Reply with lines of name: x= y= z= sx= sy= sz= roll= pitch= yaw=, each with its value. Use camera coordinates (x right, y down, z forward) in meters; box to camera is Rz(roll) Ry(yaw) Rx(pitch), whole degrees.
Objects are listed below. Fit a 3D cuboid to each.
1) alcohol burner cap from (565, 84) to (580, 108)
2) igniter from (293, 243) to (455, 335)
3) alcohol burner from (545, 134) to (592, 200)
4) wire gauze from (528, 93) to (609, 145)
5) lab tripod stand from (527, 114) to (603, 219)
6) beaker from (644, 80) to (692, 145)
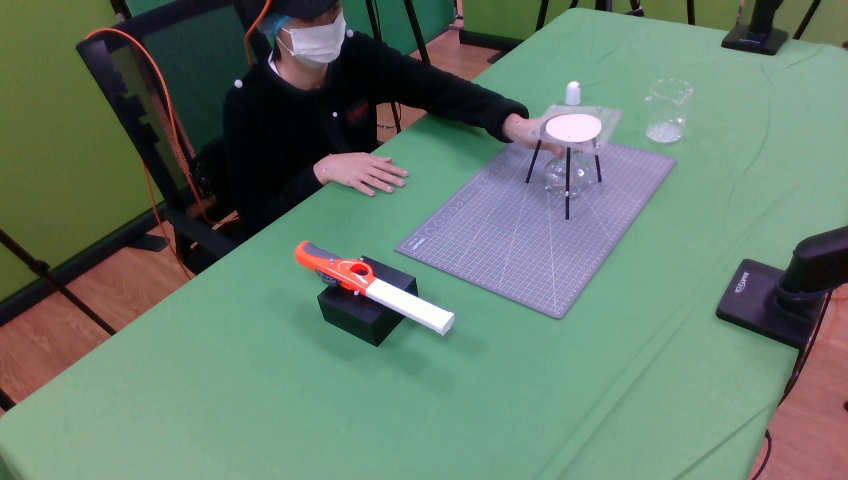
alcohol burner cap: x=0.315 y=-0.307 z=1.278 sx=0.034 sy=0.048 sz=0.033 roll=-4 pitch=42 yaw=4
igniter: x=-0.079 y=0.062 z=0.837 sx=0.274 sy=0.025 sz=0.057 roll=22 pitch=48 yaw=27
alcohol burner: x=0.243 y=-0.128 z=1.014 sx=0.078 sy=0.119 sz=0.077 roll=-5 pitch=42 yaw=5
wire gauze: x=0.225 y=-0.188 z=0.943 sx=0.121 sy=0.011 sz=0.124 roll=6 pitch=48 yaw=9
lab tripod stand: x=0.234 y=-0.129 z=1.001 sx=0.148 sy=0.132 sz=0.147 roll=-6 pitch=40 yaw=6
beaker: x=0.451 y=-0.233 z=1.122 sx=0.074 sy=0.101 sz=0.083 roll=-8 pitch=40 yaw=1
